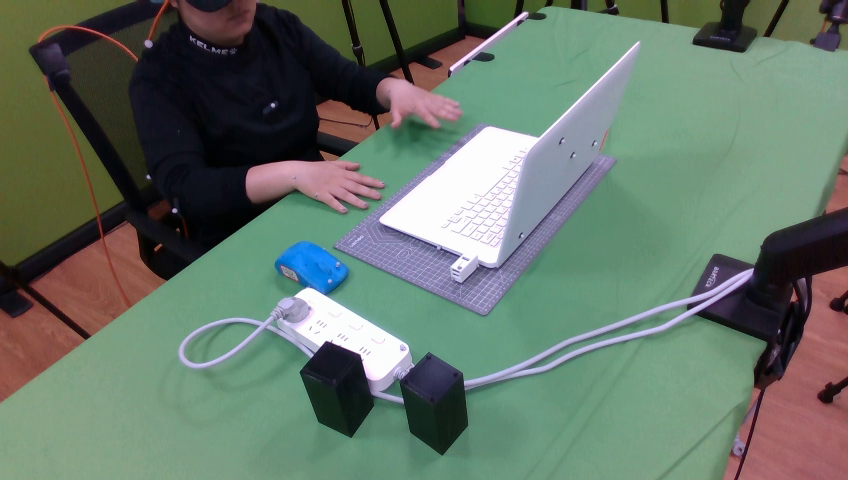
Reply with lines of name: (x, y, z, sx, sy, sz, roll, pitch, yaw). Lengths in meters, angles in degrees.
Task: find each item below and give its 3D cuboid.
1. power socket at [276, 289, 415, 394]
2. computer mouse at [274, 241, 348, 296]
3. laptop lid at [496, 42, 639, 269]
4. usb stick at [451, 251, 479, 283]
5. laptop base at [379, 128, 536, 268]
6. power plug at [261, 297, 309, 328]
power socket: (-0.114, 0.133, 0.821, 0.225, 0.033, 0.072, 25, 49, 33)
computer mouse: (-0.175, 0.040, 0.936, 0.116, 0.041, 0.063, 27, 48, 27)
laptop lid: (0.220, -0.130, 0.913, 0.013, 0.242, 0.357, 31, 51, 21)
usb stick: (0.065, 0.036, 0.900, 0.021, 0.027, 0.059, 24, 46, 31)
laptop base: (0.118, -0.088, 1.058, 0.233, 0.023, 0.355, 19, 47, 32)
power plug: (-0.192, 0.107, 0.831, 0.073, 0.053, 0.035, -32, 43, -25)
